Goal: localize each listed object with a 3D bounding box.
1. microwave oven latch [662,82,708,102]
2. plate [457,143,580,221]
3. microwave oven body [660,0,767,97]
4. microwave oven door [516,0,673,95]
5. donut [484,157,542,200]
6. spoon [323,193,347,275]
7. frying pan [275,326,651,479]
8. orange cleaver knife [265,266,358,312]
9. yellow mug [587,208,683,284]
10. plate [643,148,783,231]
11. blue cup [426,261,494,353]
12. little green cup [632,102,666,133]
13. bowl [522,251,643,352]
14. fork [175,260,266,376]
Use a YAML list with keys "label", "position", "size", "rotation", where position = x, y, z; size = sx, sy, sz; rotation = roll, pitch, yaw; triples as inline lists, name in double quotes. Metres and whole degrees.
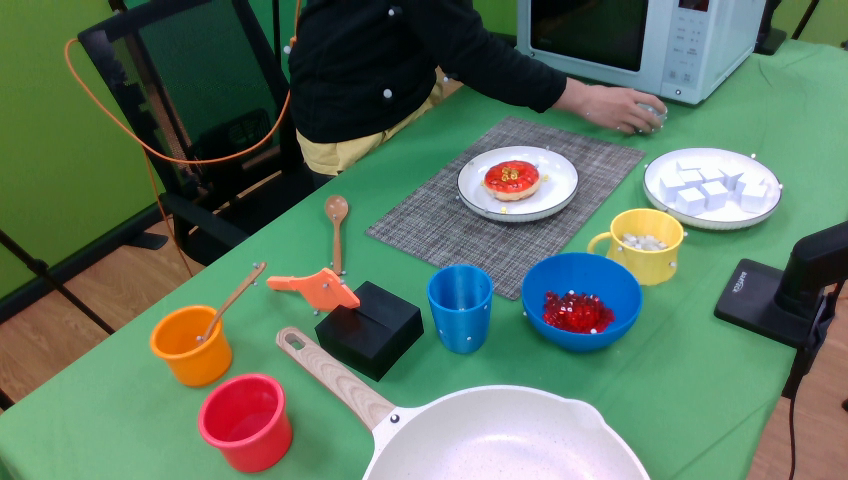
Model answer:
- label: "microwave oven latch"
  position: [0.518, -0.298, 1.202]
  size: [0.078, 0.029, 0.030]
  rotation: [28, 53, 35]
- label: "plate"
  position: [0.162, -0.097, 1.042]
  size: [0.209, 0.038, 0.208]
  rotation: [-4, 40, 4]
- label: "microwave oven body"
  position: [0.473, -0.516, 1.313]
  size: [0.438, 0.261, 0.327]
  rotation: [26, 51, 34]
- label: "microwave oven door"
  position: [0.344, -0.458, 1.257]
  size: [0.353, 0.245, 0.039]
  rotation: [26, 51, 33]
- label: "donut"
  position: [0.153, -0.107, 1.039]
  size: [0.099, 0.048, 0.098]
  rotation: [-6, 37, 5]
- label: "spoon"
  position: [-0.148, -0.014, 1.007]
  size: [0.042, 0.021, 0.192]
  rotation: [4, 39, -12]
- label: "frying pan"
  position: [0.004, 0.229, 0.641]
  size: [0.484, 0.103, 0.308]
  rotation: [34, 54, 28]
- label: "orange cleaver knife"
  position: [-0.165, 0.073, 0.864]
  size: [0.210, 0.077, 0.012]
  rotation: [-6, 31, 50]
- label: "yellow mug"
  position: [0.305, 0.009, 0.884]
  size: [0.131, 0.064, 0.099]
  rotation: [-4, 41, 5]
- label: "plate"
  position: [0.464, -0.080, 0.986]
  size: [0.207, 0.039, 0.206]
  rotation: [-4, 41, 4]
- label: "blue cup"
  position: [0.049, 0.095, 0.792]
  size: [0.092, 0.100, 0.092]
  rotation: [-3, 43, 3]
- label: "little green cup"
  position: [0.435, -0.237, 1.172]
  size: [0.061, 0.039, 0.061]
  rotation: [-7, 39, 6]
- label: "bowl"
  position: [0.204, 0.093, 0.792]
  size: [0.151, 0.077, 0.150]
  rotation: [-4, 40, 4]
- label: "fork"
  position: [-0.268, 0.103, 0.792]
  size: [0.207, 0.019, 0.028]
  rotation: [-51, 41, 16]
